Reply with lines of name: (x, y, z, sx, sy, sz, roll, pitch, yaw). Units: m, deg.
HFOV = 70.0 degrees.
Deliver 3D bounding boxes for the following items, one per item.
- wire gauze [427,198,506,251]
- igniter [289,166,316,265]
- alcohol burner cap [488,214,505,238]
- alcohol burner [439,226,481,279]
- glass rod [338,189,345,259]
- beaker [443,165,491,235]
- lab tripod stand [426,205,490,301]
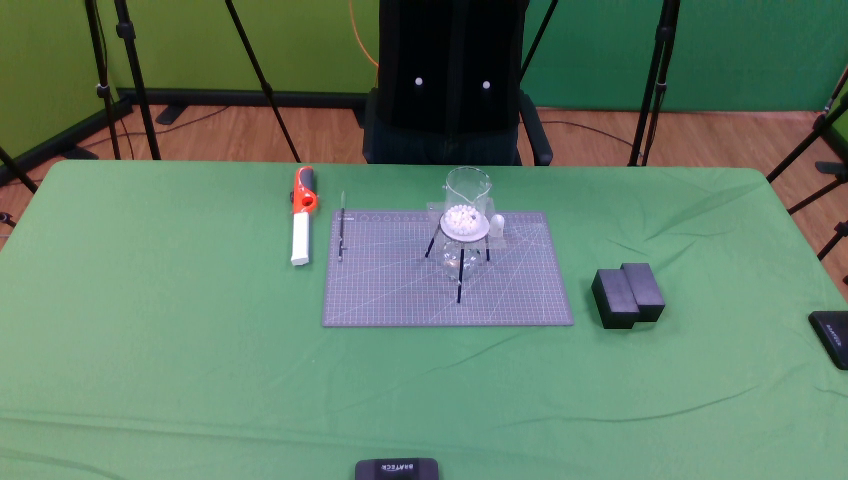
wire gauze: (0.072, -0.028, 1.057, 0.125, 0.011, 0.120, -1, 49, -8)
igniter: (-0.248, -0.058, 1.233, 0.057, 0.025, 0.274, -9, 47, 1)
alcohol burner cap: (0.147, -0.031, 1.221, 0.034, 0.048, 0.033, 2, 46, -1)
alcohol burner: (0.068, 0.017, 1.119, 0.078, 0.119, 0.077, 3, 47, -3)
glass rod: (-0.166, -0.037, 1.227, 0.008, 0.008, 0.198, -1, 47, -4)
beaker: (0.070, -0.062, 1.023, 0.074, 0.101, 0.083, -2, 48, -6)
lab tripod stand: (0.069, 0.016, 1.106, 0.148, 0.132, 0.147, 3, 47, -3)
